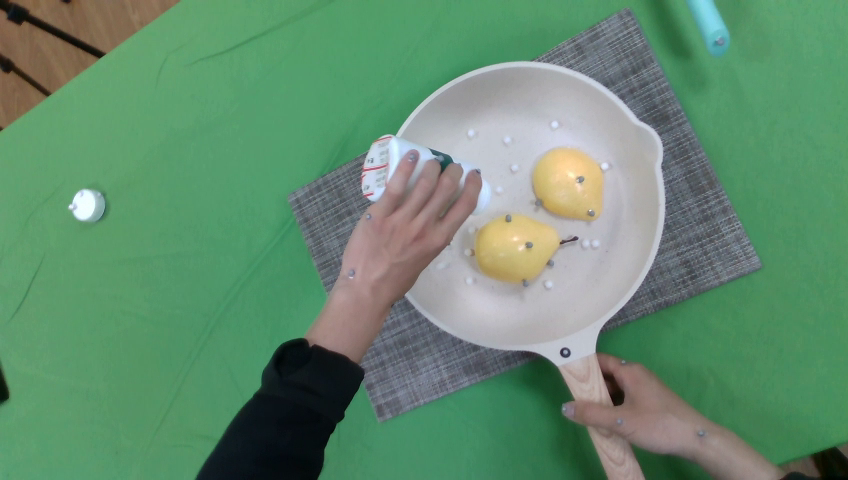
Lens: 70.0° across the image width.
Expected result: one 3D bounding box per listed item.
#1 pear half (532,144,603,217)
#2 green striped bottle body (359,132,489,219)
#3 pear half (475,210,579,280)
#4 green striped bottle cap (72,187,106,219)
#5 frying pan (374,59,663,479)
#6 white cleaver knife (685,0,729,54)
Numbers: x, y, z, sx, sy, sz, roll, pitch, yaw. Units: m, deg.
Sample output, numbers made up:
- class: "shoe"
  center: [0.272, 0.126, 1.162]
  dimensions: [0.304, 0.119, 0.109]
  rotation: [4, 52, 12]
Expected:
- class: "pear half"
  center: [0.153, -0.062, 0.639]
  dimensions: [0.070, 0.031, 0.087]
  rotation: [-42, 74, 16]
- class: "green striped bottle body"
  center: [0.004, -0.057, 0.575]
  dimensions: [0.063, 0.120, 0.063]
  rotation: [-24, 60, 52]
- class: "pear half"
  center: [0.108, 0.002, 0.640]
  dimensions: [0.109, 0.056, 0.076]
  rotation: [-13, 91, 14]
- class: "green striped bottle cap"
  center: [-0.464, -0.051, 0.840]
  dimensions: [0.044, 0.020, 0.044]
  rotation: [0, 89, 18]
- class: "frying pan"
  center: [0.127, 0.059, 0.610]
  dimensions: [0.306, 0.103, 0.485]
  rotation: [-24, 74, 17]
- class: "white cleaver knife"
  center: [0.236, -0.313, 0.602]
  dimensions: [0.021, 0.066, 0.285]
  rotation: [-23, 81, 21]
